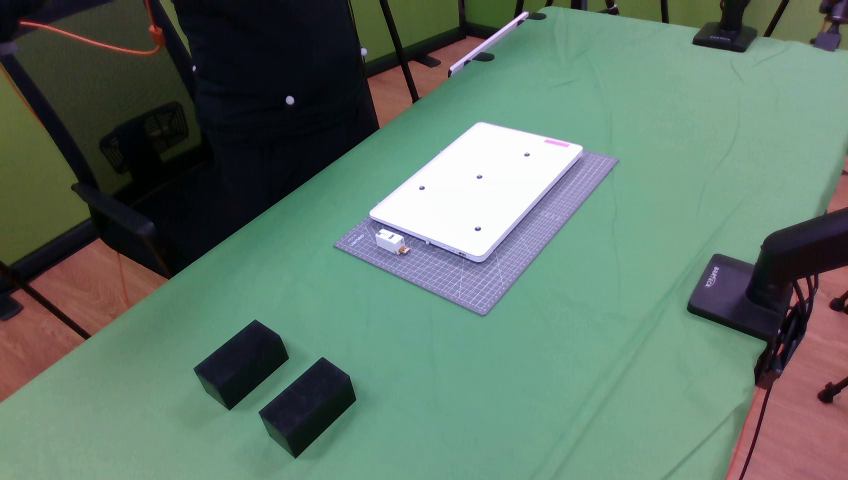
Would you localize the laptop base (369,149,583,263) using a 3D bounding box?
[{"bbox_3d":[0.101,-0.096,1.071,0.233,0.023,0.355,20,47,32],"label":"laptop base"}]

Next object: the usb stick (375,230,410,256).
[{"bbox_3d":[-0.049,0.007,0.962,0.059,0.027,0.021,24,46,28],"label":"usb stick"}]

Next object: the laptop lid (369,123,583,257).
[{"bbox_3d":[0.097,-0.106,1.065,0.239,0.013,0.358,22,48,33],"label":"laptop lid"}]
